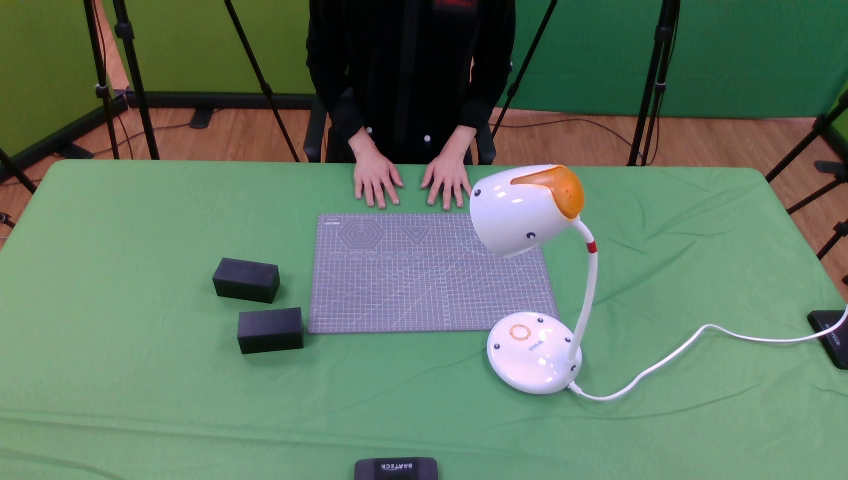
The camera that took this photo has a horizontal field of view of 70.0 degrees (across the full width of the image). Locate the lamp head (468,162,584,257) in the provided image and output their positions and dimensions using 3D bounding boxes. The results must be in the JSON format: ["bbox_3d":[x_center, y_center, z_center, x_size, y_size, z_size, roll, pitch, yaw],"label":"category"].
[{"bbox_3d":[0.136,-0.043,0.746,0.122,0.113,0.112,-15,30,42],"label":"lamp head"}]

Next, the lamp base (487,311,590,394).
[{"bbox_3d":[0.199,0.142,0.962,0.178,0.181,0.160,38,56,24],"label":"lamp base"}]
